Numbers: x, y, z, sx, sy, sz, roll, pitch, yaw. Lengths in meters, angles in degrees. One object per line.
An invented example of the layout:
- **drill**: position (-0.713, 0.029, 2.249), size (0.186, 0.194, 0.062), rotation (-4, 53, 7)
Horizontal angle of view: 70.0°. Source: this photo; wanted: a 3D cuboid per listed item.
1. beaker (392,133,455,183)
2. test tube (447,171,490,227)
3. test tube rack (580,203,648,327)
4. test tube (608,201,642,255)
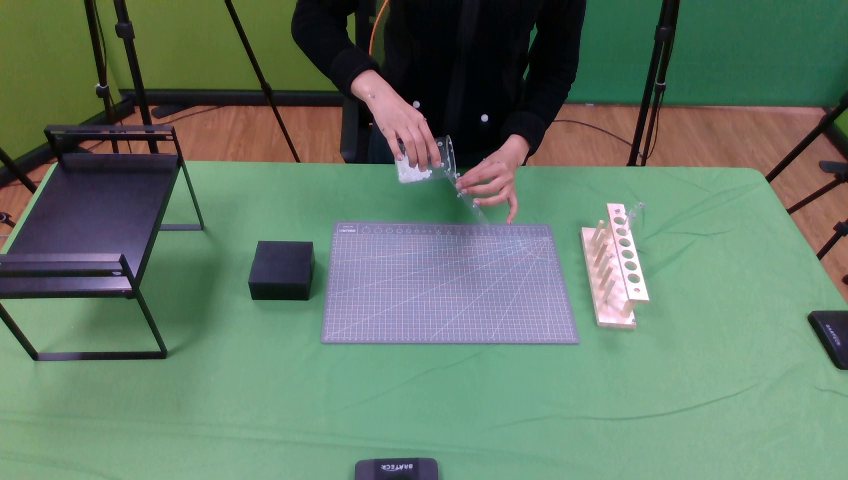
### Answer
- **beaker**: position (-0.001, -0.138, 1.050), size (0.100, 0.084, 0.073), rotation (-9, 45, -3)
- **test tube**: position (0.085, -0.073, 1.124), size (0.017, 0.151, 0.017), rotation (-23, 41, 21)
- **test tube rack**: position (0.352, 0.041, 1.143), size (0.067, 0.085, 0.241), rotation (4, 46, 0)
- **test tube**: position (0.373, -0.019, 1.133), size (0.017, 0.151, 0.017), rotation (3, 52, -4)
